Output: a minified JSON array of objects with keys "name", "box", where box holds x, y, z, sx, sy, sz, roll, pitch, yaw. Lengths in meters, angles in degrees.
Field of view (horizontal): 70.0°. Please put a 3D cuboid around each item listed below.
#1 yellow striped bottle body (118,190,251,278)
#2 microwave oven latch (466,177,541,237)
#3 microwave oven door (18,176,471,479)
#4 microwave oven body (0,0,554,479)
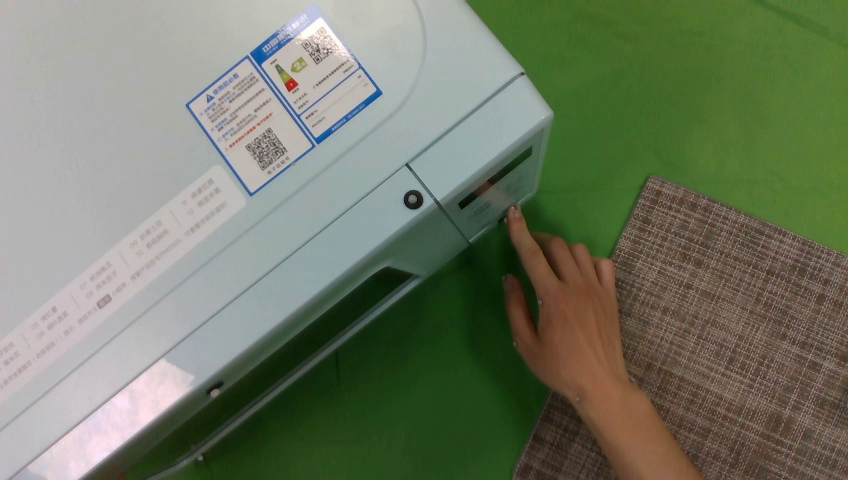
[{"name":"yellow striped bottle body","box":[-0.187,-0.003,0.475,0.063,0.120,0.062,0,85,4]},{"name":"microwave oven latch","box":[0.065,-0.037,0.533,0.079,0.029,0.030,-36,82,4]},{"name":"microwave oven door","box":[-0.123,0.088,0.447,0.356,0.244,0.039,-38,80,3]},{"name":"microwave oven body","box":[-0.178,-0.052,0.471,0.442,0.261,0.325,-38,82,4]}]
